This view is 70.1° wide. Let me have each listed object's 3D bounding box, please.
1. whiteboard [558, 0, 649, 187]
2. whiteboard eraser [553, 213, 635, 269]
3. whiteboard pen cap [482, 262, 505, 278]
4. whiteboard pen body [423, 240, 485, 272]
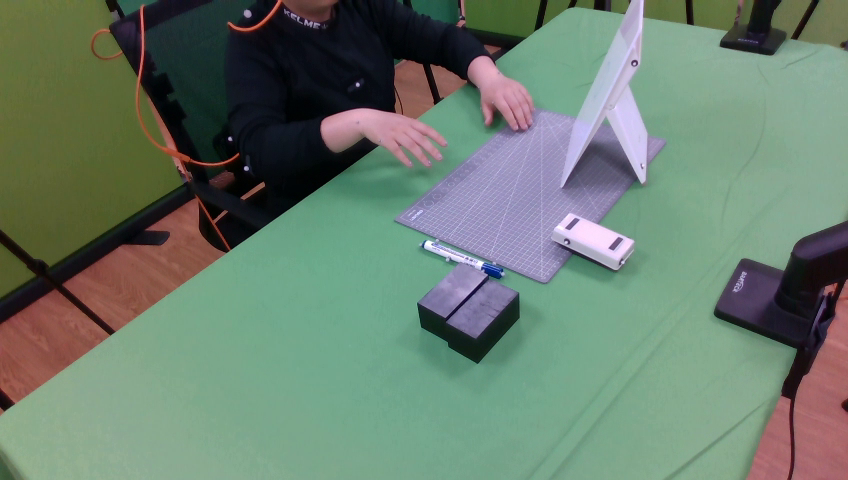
[{"bbox_3d":[0.361,-0.238,1.026,0.144,0.306,0.217,21,44,4],"label":"whiteboard"},{"bbox_3d":[0.257,0.003,0.918,0.112,0.042,0.056,27,49,30],"label":"whiteboard eraser"},{"bbox_3d":[0.104,0.044,0.912,0.033,0.018,0.018,22,49,29],"label":"whiteboard pen cap"},{"bbox_3d":[0.057,0.028,0.942,0.139,0.017,0.017,22,48,30],"label":"whiteboard pen body"}]
